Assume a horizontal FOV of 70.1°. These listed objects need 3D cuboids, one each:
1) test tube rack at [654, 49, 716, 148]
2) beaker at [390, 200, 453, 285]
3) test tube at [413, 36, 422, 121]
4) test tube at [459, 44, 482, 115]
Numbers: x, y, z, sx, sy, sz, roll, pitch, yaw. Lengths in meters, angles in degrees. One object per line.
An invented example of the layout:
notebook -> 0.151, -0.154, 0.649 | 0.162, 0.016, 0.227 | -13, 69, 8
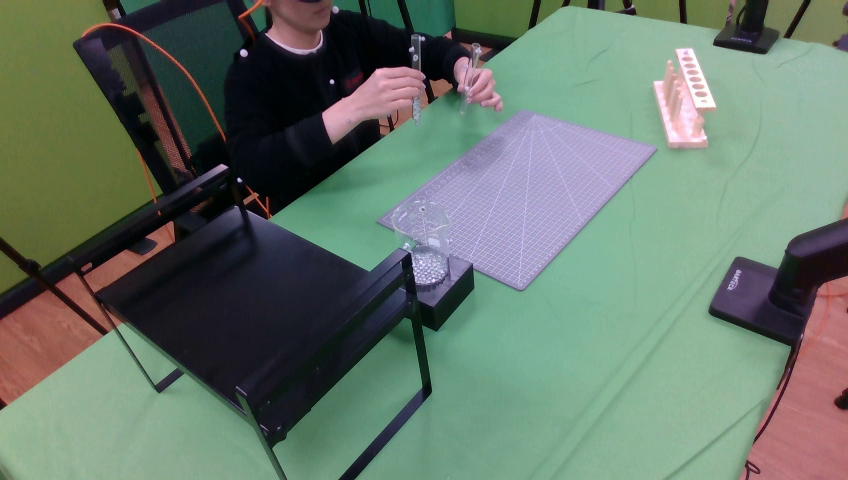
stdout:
test tube rack -> 0.502, -0.281, 1.176 | 0.066, 0.085, 0.241 | 2, 41, 11
beaker -> 0.002, 0.006, 0.831 | 0.084, 0.101, 0.074 | 5, 42, 13
test tube -> -0.011, -0.275, 1.040 | 0.017, 0.150, 0.017 | 0, 36, 0
test tube -> 0.083, -0.290, 1.108 | 0.017, 0.151, 0.017 | 5, 49, -6
